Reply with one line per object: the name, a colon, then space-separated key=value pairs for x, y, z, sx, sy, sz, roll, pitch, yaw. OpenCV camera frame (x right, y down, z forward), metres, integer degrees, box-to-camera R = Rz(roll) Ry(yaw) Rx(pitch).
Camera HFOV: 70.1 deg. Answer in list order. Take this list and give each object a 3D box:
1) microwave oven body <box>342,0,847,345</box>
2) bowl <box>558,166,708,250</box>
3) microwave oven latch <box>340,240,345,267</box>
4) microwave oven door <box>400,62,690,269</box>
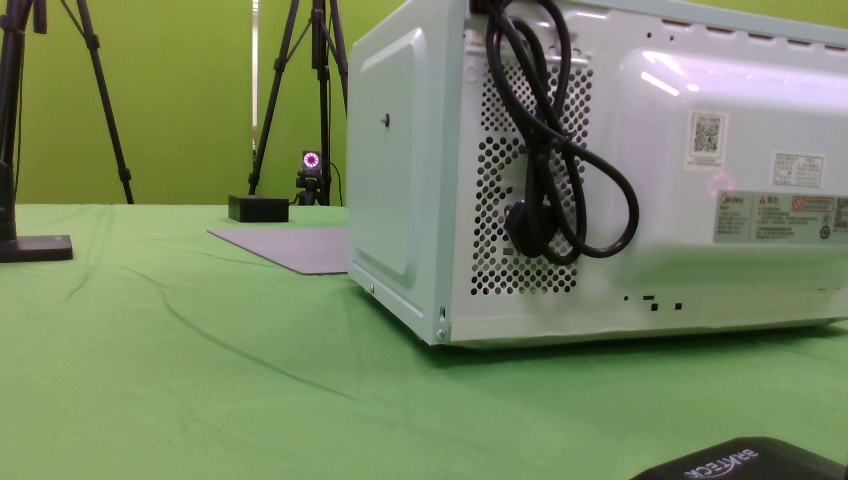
microwave oven body: x=0.169 y=-0.060 z=0.573 sx=0.444 sy=0.260 sz=0.324 roll=1 pitch=7 yaw=-20
bowl: x=0.215 y=-0.035 z=0.640 sx=0.151 sy=0.077 sz=0.151 roll=2 pitch=11 yaw=0
microwave oven latch: x=-0.052 y=0.016 z=0.662 sx=0.079 sy=0.029 sz=0.030 roll=1 pitch=7 yaw=-18
microwave oven door: x=0.153 y=-0.089 z=0.762 sx=0.356 sy=0.243 sz=0.039 roll=2 pitch=7 yaw=-7
